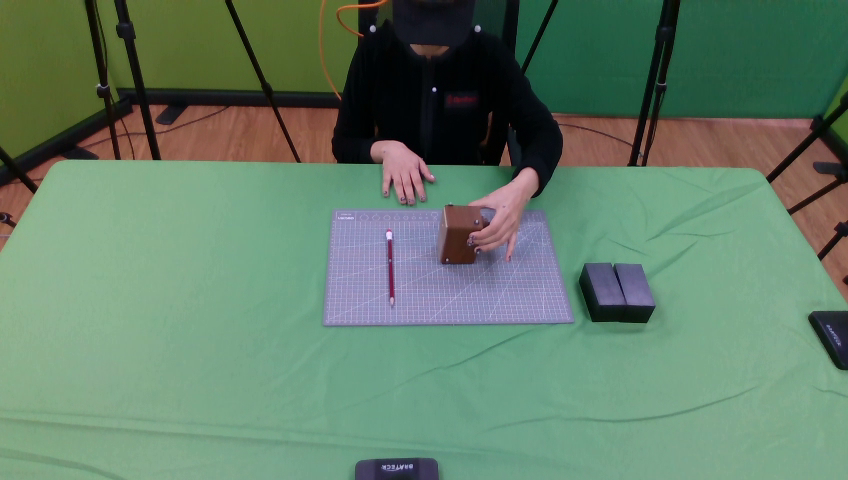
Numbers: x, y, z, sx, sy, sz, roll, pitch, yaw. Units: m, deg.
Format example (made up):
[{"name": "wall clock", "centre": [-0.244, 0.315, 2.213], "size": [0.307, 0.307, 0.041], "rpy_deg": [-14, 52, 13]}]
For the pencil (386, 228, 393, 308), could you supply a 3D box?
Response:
[{"name": "pencil", "centre": [-0.065, 0.050, 1.152], "size": [0.012, 0.012, 0.193], "rpy_deg": [-1, 48, -4]}]

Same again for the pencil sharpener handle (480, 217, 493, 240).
[{"name": "pencil sharpener handle", "centre": [0.121, -0.021, 1.149], "size": [0.031, 0.068, 0.036], "rpy_deg": [1, 60, -7]}]

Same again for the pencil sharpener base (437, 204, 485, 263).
[{"name": "pencil sharpener base", "centre": [0.070, -0.011, 1.149], "size": [0.077, 0.107, 0.061], "rpy_deg": [1, 47, -8]}]
